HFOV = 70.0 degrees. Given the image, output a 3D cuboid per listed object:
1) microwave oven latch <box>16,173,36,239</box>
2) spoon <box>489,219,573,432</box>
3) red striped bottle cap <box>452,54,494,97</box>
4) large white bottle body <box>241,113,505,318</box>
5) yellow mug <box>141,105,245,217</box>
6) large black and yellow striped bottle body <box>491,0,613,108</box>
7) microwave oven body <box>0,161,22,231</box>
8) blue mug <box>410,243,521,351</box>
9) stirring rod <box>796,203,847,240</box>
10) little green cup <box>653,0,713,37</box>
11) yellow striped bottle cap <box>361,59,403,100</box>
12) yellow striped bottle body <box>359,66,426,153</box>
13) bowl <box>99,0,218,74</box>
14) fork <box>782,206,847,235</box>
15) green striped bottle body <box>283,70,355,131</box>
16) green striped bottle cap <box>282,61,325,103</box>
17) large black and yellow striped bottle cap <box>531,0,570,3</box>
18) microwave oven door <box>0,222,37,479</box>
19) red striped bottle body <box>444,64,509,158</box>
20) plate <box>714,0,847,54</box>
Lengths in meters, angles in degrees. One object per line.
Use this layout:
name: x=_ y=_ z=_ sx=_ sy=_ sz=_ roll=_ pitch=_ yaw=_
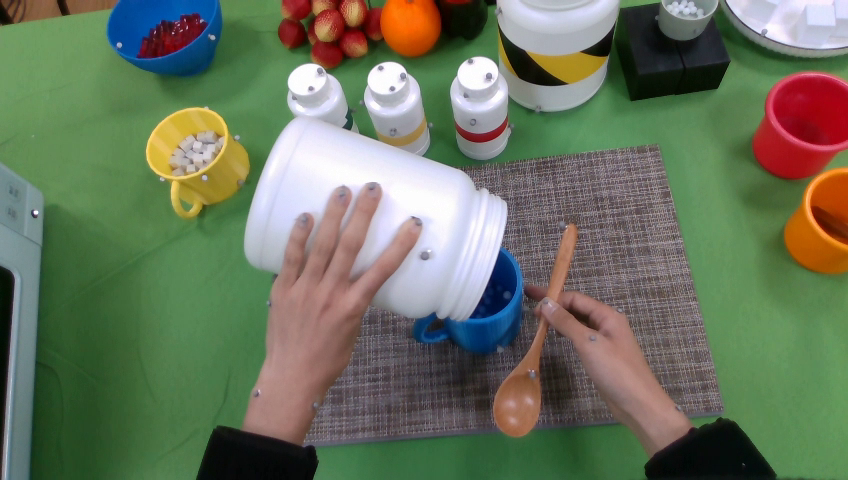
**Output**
microwave oven latch: x=-0.486 y=-0.038 z=0.726 sx=0.030 sy=0.030 sz=0.078 roll=-13 pitch=66 yaw=1
spoon: x=0.101 y=0.074 z=0.534 sx=0.041 sy=0.021 sz=0.194 roll=18 pitch=93 yaw=4
red striped bottle cap: x=0.051 y=-0.172 z=0.631 sx=0.044 sy=0.018 sz=0.044 roll=-1 pitch=65 yaw=3
large white bottle body: x=-0.039 y=-0.014 z=0.496 sx=0.185 sy=0.131 sz=0.130 roll=19 pitch=69 yaw=-5
yellow mug: x=-0.279 y=-0.089 z=0.726 sx=0.100 sy=0.064 sz=0.130 roll=3 pitch=68 yaw=9
large black and yellow striped bottle body: x=0.141 y=-0.251 z=0.677 sx=0.130 sy=0.185 sz=0.130 roll=-3 pitch=66 yaw=7
microwave oven body: x=-0.603 y=0.116 z=0.568 sx=0.326 sy=0.262 sz=0.438 roll=-15 pitch=66 yaw=1
blue mug: x=0.038 y=0.064 z=0.590 sx=0.116 sy=0.107 sz=0.081 roll=-31 pitch=66 yaw=-7
stirring rod: x=0.397 y=-0.004 z=0.561 sx=0.014 sy=0.006 sz=0.175 roll=-4 pitch=23 yaw=3
little green cup: x=0.290 y=-0.262 z=0.686 sx=0.061 sy=0.039 sz=0.061 roll=-2 pitch=64 yaw=4
yellow striped bottle cap: x=-0.044 y=-0.171 z=0.643 sx=0.044 sy=0.019 sz=0.044 roll=-1 pitch=63 yaw=2
yellow striped bottle body: x=-0.036 y=-0.150 z=0.691 sx=0.063 sy=0.121 sz=0.062 roll=-3 pitch=65 yaw=7
bowl: x=-0.338 y=-0.277 z=0.809 sx=0.151 sy=0.077 sz=0.150 roll=-3 pitch=66 yaw=6
fork: x=0.426 y=-0.005 z=0.550 sx=0.028 sy=0.019 sz=0.205 roll=-42 pitch=24 yaw=-10
green striped bottle body: x=-0.122 y=-0.150 z=0.702 sx=0.063 sy=0.120 sz=0.062 roll=-3 pitch=66 yaw=6
green striped bottle cap: x=-0.131 y=-0.172 z=0.655 sx=0.044 sy=0.020 sz=0.044 roll=-2 pitch=66 yaw=5
large black and yellow striped bottle cap: x=0.130 y=-0.285 z=0.598 sx=0.115 sy=0.019 sz=0.114 roll=-4 pitch=67 yaw=9
microwave oven door: x=-0.453 y=0.115 z=0.544 sx=0.039 sy=0.246 sz=0.352 roll=-15 pitch=65 yaw=2
red striped bottle body: x=0.059 y=-0.150 z=0.679 sx=0.063 sy=0.121 sz=0.062 roll=-6 pitch=63 yaw=12
plate: x=0.457 y=-0.307 z=0.739 sx=0.209 sy=0.038 sz=0.207 roll=-3 pitch=67 yaw=6
